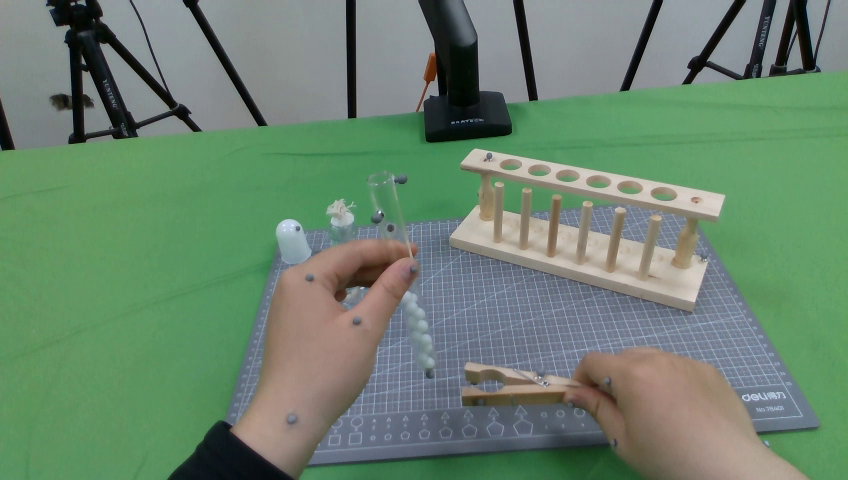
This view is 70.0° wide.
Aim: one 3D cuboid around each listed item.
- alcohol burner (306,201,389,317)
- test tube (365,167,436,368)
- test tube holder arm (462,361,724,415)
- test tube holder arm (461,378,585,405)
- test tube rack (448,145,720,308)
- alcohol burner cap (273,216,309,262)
[{"bbox_3d":[-0.071,0.013,0.550,0.078,0.120,0.077,-3,39,3],"label":"alcohol burner"},{"bbox_3d":[-0.013,0.024,0.378,0.017,0.151,0.017,-9,32,6],"label":"test tube"},{"bbox_3d":[0.115,0.104,0.429,0.178,0.015,0.013,4,48,15],"label":"test tube holder arm"},{"bbox_3d":[0.071,0.108,0.434,0.088,0.015,0.010,-6,45,6],"label":"test tube holder arm"},{"bbox_3d":[0.142,-0.019,0.584,0.241,0.086,0.066,15,43,26],"label":"test tube rack"},{"bbox_3d":[-0.142,-0.004,0.640,0.034,0.048,0.033,-3,39,3],"label":"alcohol burner cap"}]
